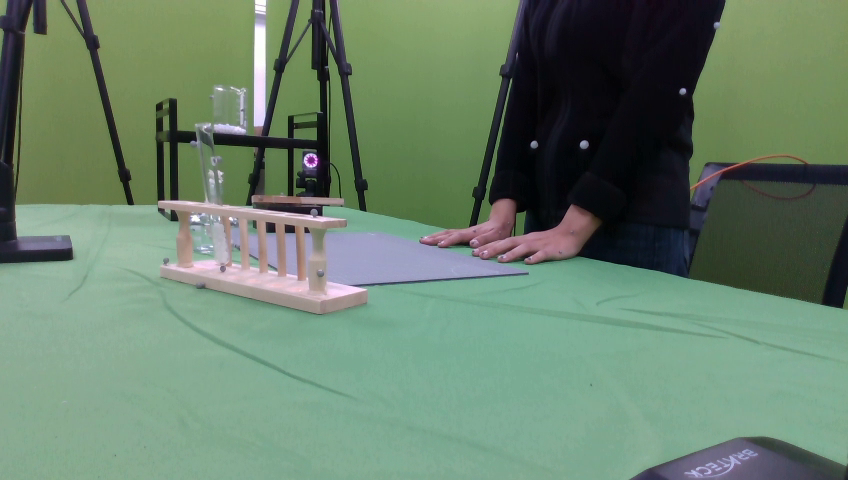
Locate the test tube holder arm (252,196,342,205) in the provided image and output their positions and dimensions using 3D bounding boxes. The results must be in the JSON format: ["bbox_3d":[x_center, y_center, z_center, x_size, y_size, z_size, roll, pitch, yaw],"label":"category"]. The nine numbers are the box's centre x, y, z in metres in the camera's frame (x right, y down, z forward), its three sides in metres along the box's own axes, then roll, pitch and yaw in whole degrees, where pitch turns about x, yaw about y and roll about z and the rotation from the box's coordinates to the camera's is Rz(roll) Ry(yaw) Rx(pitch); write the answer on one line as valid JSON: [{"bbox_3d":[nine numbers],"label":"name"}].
[{"bbox_3d":[-0.241,-0.076,1.164,0.179,0.015,0.013,-1,7,-33],"label":"test tube holder arm"}]

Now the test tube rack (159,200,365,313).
[{"bbox_3d":[-0.173,0.009,0.625,0.241,0.085,0.067,7,9,34],"label":"test tube rack"}]

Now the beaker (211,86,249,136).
[{"bbox_3d":[-0.413,-0.274,1.297,0.074,0.100,0.083,-5,11,-44],"label":"beaker"}]

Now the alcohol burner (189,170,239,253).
[{"bbox_3d":[-0.303,-0.042,0.871,0.078,0.119,0.078,3,6,0],"label":"alcohol burner"}]

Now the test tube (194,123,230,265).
[{"bbox_3d":[-0.218,-0.045,0.624,0.017,0.150,0.017,-2,19,1],"label":"test tube"}]

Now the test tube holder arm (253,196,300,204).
[{"bbox_3d":[-0.276,-0.075,1.135,0.088,0.015,0.010,0,7,-32],"label":"test tube holder arm"}]

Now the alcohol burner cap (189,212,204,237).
[{"bbox_3d":[-0.389,-0.029,1.026,0.034,0.048,0.034,3,8,0],"label":"alcohol burner cap"}]
